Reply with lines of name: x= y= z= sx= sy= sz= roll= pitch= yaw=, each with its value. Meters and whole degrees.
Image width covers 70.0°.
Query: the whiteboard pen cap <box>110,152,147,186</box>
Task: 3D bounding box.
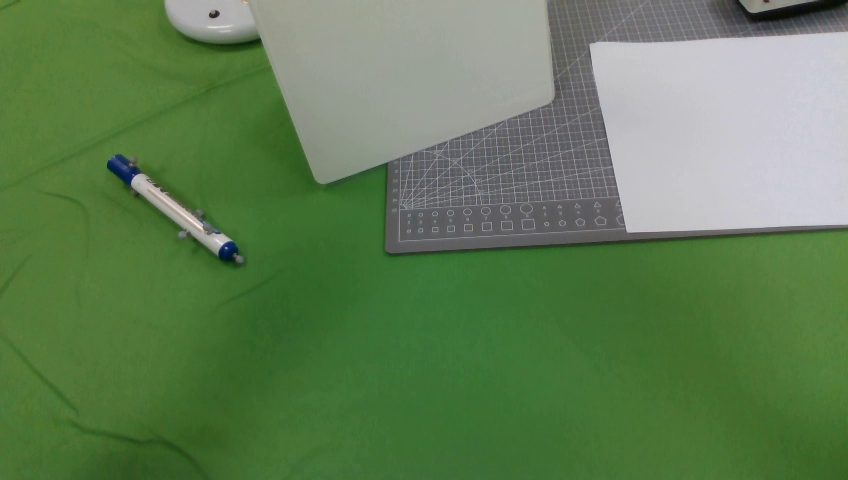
whiteboard pen cap: x=-0.242 y=-0.057 z=0.501 sx=0.033 sy=0.018 sz=0.018 roll=35 pitch=65 yaw=19

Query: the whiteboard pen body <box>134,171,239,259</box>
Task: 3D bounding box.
whiteboard pen body: x=-0.197 y=-0.027 z=0.480 sx=0.140 sy=0.017 sz=0.017 roll=34 pitch=65 yaw=21

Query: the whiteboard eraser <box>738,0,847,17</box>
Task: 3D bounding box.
whiteboard eraser: x=0.342 y=-0.236 z=0.554 sx=0.113 sy=0.042 sz=0.055 roll=-11 pitch=56 yaw=-2

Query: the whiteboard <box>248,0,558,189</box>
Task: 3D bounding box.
whiteboard: x=-0.037 y=-0.234 z=0.468 sx=0.217 sy=0.308 sz=0.142 roll=-20 pitch=37 yaw=-7

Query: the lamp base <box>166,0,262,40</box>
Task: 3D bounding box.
lamp base: x=-0.207 y=-0.314 z=0.580 sx=0.177 sy=0.182 sz=0.160 roll=33 pitch=65 yaw=27
